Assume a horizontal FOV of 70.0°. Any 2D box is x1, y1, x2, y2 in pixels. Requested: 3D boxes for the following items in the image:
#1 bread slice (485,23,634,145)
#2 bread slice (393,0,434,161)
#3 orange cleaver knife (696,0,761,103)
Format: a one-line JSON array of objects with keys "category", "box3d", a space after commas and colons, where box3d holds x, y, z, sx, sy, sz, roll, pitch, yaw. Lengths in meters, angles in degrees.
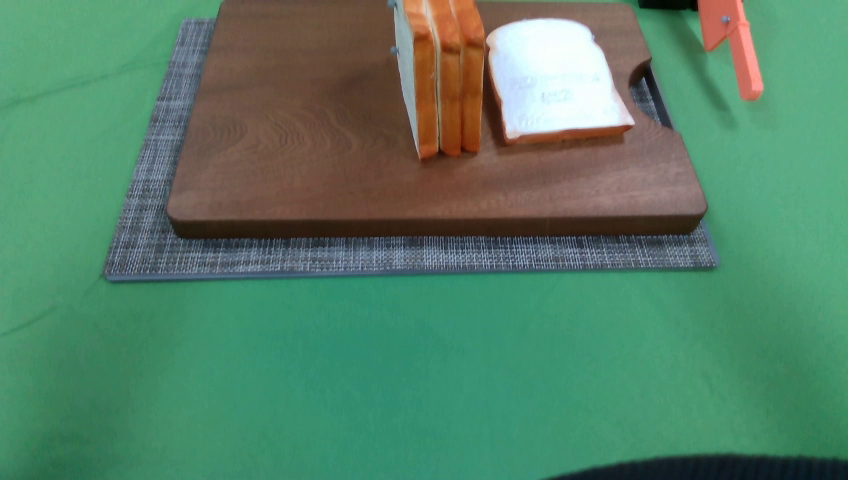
[{"category": "bread slice", "box3d": [0.107, -0.136, 0.514, 0.105, 0.019, 0.130, -6, 58, -5]}, {"category": "bread slice", "box3d": [-0.010, -0.141, 0.469, 0.018, 0.108, 0.133, -5, 46, -5]}, {"category": "orange cleaver knife", "box3d": [0.287, -0.217, 0.582, 0.012, 0.077, 0.210, 2, 73, -5]}]
